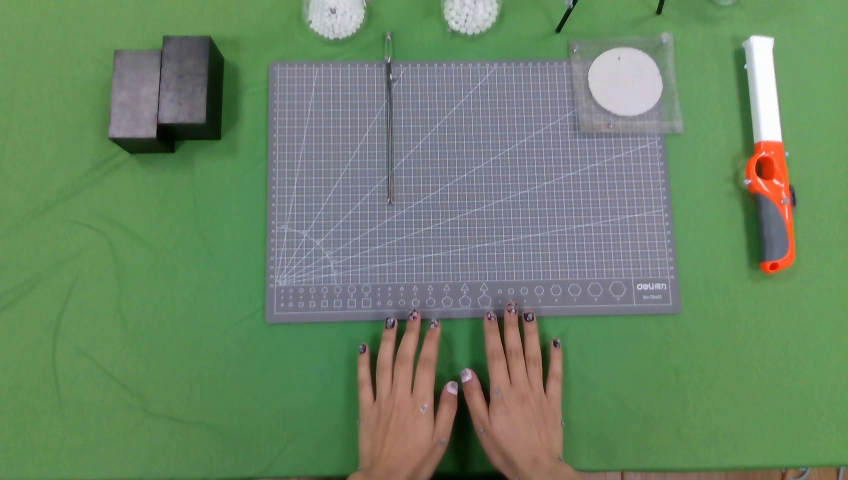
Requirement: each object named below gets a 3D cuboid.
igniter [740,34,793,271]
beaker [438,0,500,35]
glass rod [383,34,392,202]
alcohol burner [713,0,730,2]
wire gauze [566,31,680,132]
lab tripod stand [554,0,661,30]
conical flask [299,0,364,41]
[{"bbox_3d":[0.386,-0.101,0.687,0.057,0.025,0.275,2,81,-11],"label":"igniter"},{"bbox_3d":[0.052,-0.284,0.670,0.074,0.100,0.083,1,79,-2],"label":"beaker"},{"bbox_3d":[-0.041,-0.140,0.685,0.008,0.008,0.199,-2,80,-2],"label":"glass rod"},{"bbox_3d":[0.358,-0.322,0.679,0.078,0.119,0.077,0,82,0],"label":"alcohol burner"},{"bbox_3d":[0.231,-0.183,0.703,0.125,0.011,0.121,-2,81,-2],"label":"wire gauze"},{"bbox_3d":[0.210,-0.306,0.661,0.148,0.132,0.148,0,82,-2],"label":"lab tripod stand"},{"bbox_3d":[-0.106,-0.276,0.652,0.075,0.122,0.075,0,80,-1],"label":"conical flask"}]
